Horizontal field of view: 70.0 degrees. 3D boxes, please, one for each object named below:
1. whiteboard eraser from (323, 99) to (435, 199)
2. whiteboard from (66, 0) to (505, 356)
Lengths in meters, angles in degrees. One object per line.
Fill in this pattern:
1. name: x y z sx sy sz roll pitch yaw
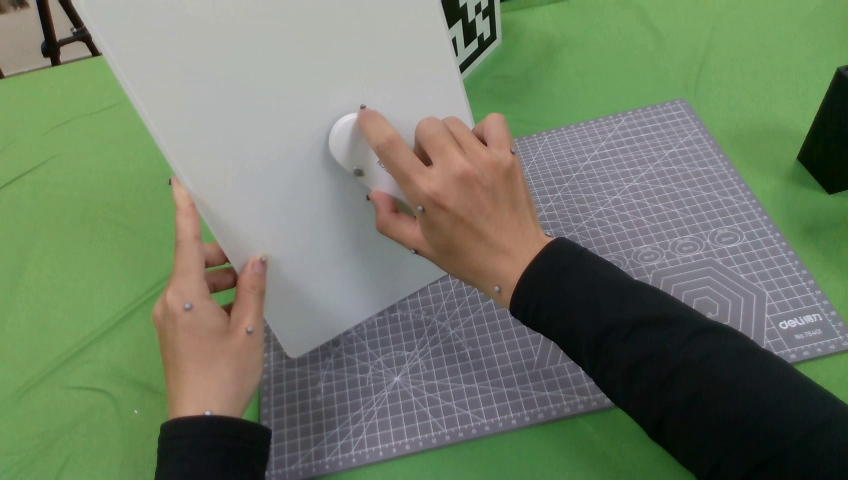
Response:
1. whiteboard eraser: -0.032 -0.066 0.453 0.041 0.102 0.018 -48 39 8
2. whiteboard: -0.092 -0.102 0.494 0.217 0.308 0.142 -29 34 -11
